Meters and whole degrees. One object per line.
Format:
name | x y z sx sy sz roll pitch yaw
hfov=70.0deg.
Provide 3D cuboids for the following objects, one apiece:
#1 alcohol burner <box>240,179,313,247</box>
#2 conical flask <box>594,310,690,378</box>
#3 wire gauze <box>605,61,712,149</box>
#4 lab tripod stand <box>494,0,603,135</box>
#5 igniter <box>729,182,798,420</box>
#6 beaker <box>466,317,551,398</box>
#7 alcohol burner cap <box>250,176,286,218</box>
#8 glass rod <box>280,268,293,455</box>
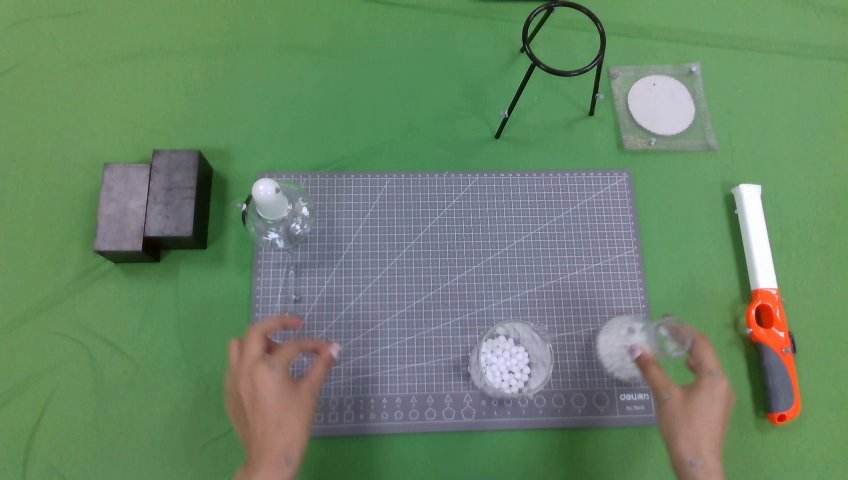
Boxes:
alcohol burner | -0.160 -0.034 0.645 0.078 0.119 0.077 0 75 -1
conical flask | 0.226 0.101 0.619 0.075 0.122 0.075 1 75 -2
wire gauze | 0.298 -0.171 0.768 0.125 0.011 0.121 -2 75 -6
lab tripod stand | 0.141 -0.195 0.700 0.148 0.132 0.147 1 76 -3
igniter | 0.390 0.064 0.699 0.057 0.025 0.275 3 74 -14
beaker | 0.085 0.122 0.624 0.084 0.100 0.073 -43 80 -14
alcohol burner cap | -0.159 -0.046 0.611 0.034 0.048 0.033 2 67 -4
glass rod | -0.149 0.128 0.655 0.008 0.008 0.198 0 77 -4
